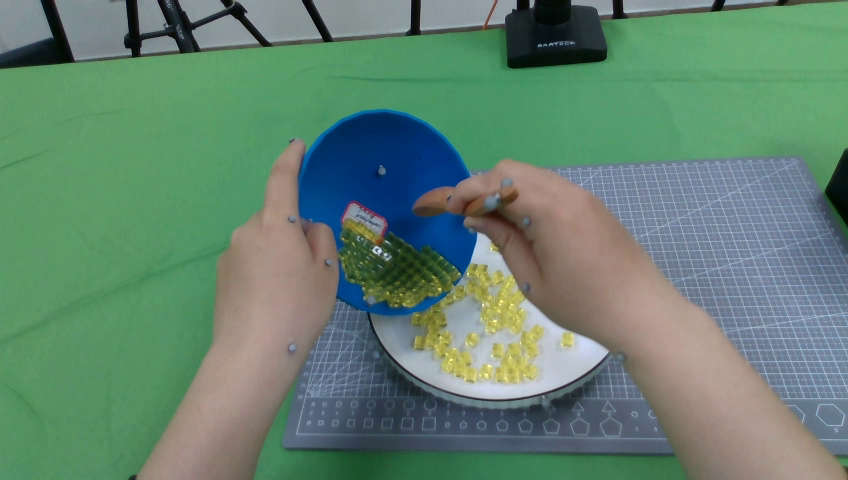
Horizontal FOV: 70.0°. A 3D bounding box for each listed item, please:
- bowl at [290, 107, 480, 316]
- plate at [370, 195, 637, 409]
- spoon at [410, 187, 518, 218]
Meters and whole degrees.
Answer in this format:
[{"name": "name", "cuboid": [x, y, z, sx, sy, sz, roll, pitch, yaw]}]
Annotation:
[{"name": "bowl", "cuboid": [-0.039, -0.018, 0.466, 0.151, 0.152, 0.076, -42, 17, -27]}, {"name": "plate", "cuboid": [0.061, 0.046, 0.489, 0.207, 0.039, 0.205, -4, 47, 5]}, {"name": "spoon", "cuboid": [0.024, -0.022, 0.368, 0.042, 0.022, 0.193, -11, 7, -10]}]
